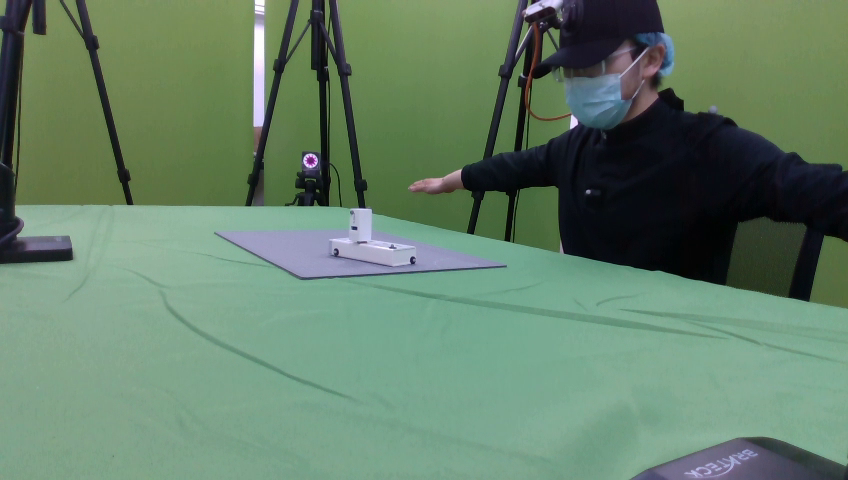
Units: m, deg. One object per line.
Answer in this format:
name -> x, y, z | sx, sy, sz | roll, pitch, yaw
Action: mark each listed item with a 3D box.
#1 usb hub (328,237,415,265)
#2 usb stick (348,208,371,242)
usb hub -> -0.074, 0.014, 0.836 | 0.124, 0.025, 0.050 | 7, 9, 38
usb stick -> -0.088, -0.014, 0.826 | 0.021, 0.059, 0.027 | 7, 11, 37
